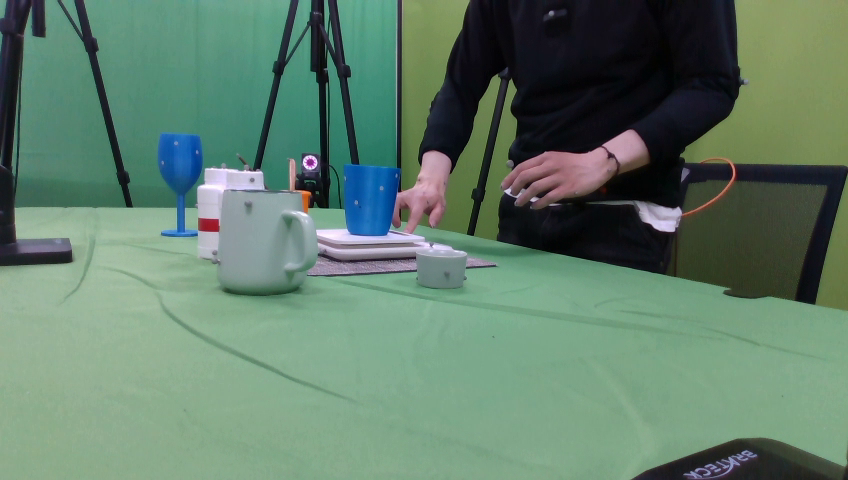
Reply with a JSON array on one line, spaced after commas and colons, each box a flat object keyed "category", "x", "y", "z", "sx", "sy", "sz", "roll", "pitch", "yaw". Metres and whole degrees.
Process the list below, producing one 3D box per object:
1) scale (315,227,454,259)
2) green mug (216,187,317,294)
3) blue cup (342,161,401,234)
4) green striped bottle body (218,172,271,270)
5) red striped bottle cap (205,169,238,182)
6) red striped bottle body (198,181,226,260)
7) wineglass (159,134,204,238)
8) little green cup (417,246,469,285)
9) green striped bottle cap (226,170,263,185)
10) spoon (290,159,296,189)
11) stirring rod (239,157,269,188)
[{"category": "scale", "x": -0.066, "y": 0.001, "z": 0.906, "sx": 0.202, "sy": 0.031, "sz": 0.148, "roll": -2, "pitch": 8, "yaw": -31}, {"category": "green mug", "x": -0.157, "y": 0.000, "z": 0.629, "sx": 0.124, "sy": 0.105, "sz": 0.093, "roll": 7, "pitch": 9, "yaw": 37}, {"category": "blue cup", "x": -0.079, "y": -0.062, "z": 0.882, "sx": 0.093, "sy": 0.100, "sz": 0.092, "roll": 4, "pitch": 6, "yaw": 0}, {"category": "green striped bottle body", "x": -0.223, "y": -0.025, "z": 0.755, "sx": 0.063, "sy": 0.119, "sz": 0.063, "roll": 1, "pitch": 7, "yaw": 0}, {"category": "red striped bottle cap", "x": -0.274, "y": -0.088, "z": 0.821, "sx": 0.044, "sy": 0.017, "sz": 0.044, "roll": -1, "pitch": 6, "yaw": 0}, {"category": "red striped bottle body", "x": -0.275, "y": -0.036, "z": 0.827, "sx": 0.063, "sy": 0.119, "sz": 0.063, "roll": 1, "pitch": 7, "yaw": 0}, {"category": "wineglass", "x": -0.415, "y": -0.093, "z": 1.040, "sx": 0.074, "sy": 0.172, "sz": 0.073, "roll": 2, "pitch": 7, "yaw": 0}, {"category": "little green cup", "x": 0.021, "y": 0.029, "z": 0.701, "sx": 0.061, "sy": 0.038, "sz": 0.061, "roll": 1, "pitch": 6, "yaw": 0}, {"category": "green striped bottle cap", "x": -0.222, "y": -0.077, "z": 0.748, "sx": 0.044, "sy": 0.020, "sz": 0.044, "roll": 1, "pitch": 7, "yaw": 0}, {"category": "spoon", "x": -0.273, "y": -0.102, "z": 1.252, "sx": 0.042, "sy": 0.193, "sz": 0.021, "roll": 7, "pitch": -38, "yaw": -17}, {"category": "stirring rod", "x": -0.309, "y": -0.098, "z": 1.209, "sx": 0.006, "sy": 0.177, "sz": 0.014, "roll": -39, "pitch": 29, "yaw": -4}]
